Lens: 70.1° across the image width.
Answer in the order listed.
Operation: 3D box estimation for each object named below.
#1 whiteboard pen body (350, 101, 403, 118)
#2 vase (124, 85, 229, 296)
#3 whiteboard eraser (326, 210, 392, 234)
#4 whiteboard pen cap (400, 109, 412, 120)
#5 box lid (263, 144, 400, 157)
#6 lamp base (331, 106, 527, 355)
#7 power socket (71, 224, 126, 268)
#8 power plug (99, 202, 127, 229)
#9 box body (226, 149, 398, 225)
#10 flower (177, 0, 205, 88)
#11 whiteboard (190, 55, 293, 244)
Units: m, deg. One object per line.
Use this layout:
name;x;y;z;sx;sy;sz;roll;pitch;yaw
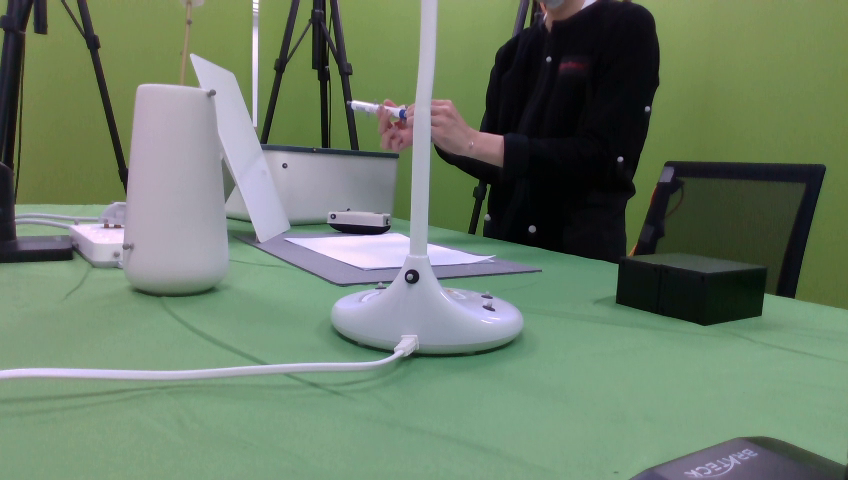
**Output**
whiteboard pen body;-0.074;-0.229;1.063;0.140;0.017;0.017;16;14;31
vase;-0.244;-0.047;0.598;0.098;0.200;0.098;3;8;0
whiteboard eraser;-0.121;-0.033;1.131;0.112;0.042;0.056;4;8;13
whiteboard pen cap;-0.025;-0.214;1.033;0.033;0.018;0.018;9;10;26
box lid;-0.263;-0.203;1.369;0.262;0.015;0.373;9;10;39
lamp base;0.006;-0.012;0.478;0.161;0.180;0.179;2;10;2
power socket;-0.409;0.004;0.793;0.072;0.032;0.225;-2;8;-37
power plug;-0.415;-0.026;0.848;0.073;0.052;0.035;6;5;-28
box body;-0.265;-0.129;1.380;0.253;0.160;0.366;8;9;39
flower;-0.243;-0.131;0.609;0.044;0.361;0.038;-5;-12;12
whiteboard;-0.362;-0.129;1.029;0.144;0.305;0.217;-18;7;3
